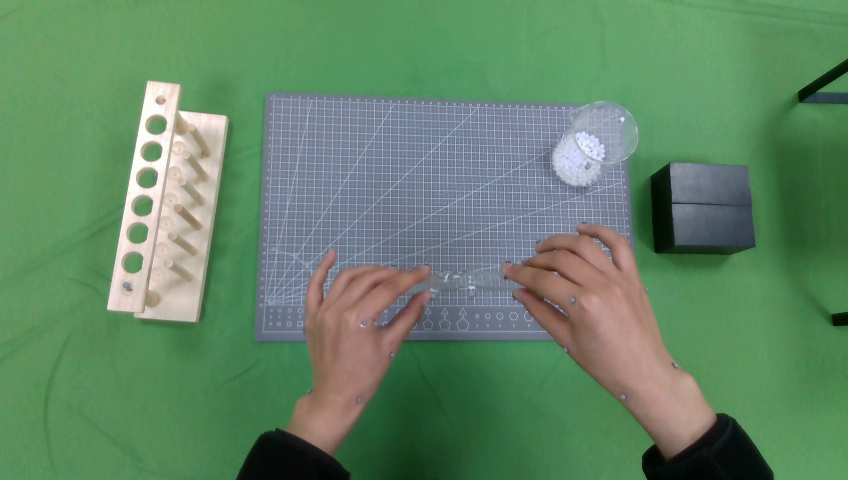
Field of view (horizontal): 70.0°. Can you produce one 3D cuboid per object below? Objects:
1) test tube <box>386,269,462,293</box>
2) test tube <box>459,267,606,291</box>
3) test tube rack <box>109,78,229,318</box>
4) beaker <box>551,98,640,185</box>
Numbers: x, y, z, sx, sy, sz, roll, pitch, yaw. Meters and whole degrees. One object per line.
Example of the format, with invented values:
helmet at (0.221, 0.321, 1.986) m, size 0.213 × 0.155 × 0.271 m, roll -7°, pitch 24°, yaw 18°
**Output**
test tube at (-0.005, 0.040, 0.568) m, size 0.017 × 0.150 × 0.017 m, roll 3°, pitch 82°, yaw -24°
test tube at (0.098, 0.034, 0.523) m, size 0.151 × 0.017 × 0.017 m, roll 4°, pitch 77°, yaw -26°
test tube rack at (-0.270, -0.042, 0.657) m, size 0.067 × 0.085 × 0.241 m, roll 5°, pitch 79°, yaw -4°
beaker at (0.193, -0.112, 0.711) m, size 0.084 × 0.100 × 0.074 m, roll 32°, pitch 77°, yaw 3°
